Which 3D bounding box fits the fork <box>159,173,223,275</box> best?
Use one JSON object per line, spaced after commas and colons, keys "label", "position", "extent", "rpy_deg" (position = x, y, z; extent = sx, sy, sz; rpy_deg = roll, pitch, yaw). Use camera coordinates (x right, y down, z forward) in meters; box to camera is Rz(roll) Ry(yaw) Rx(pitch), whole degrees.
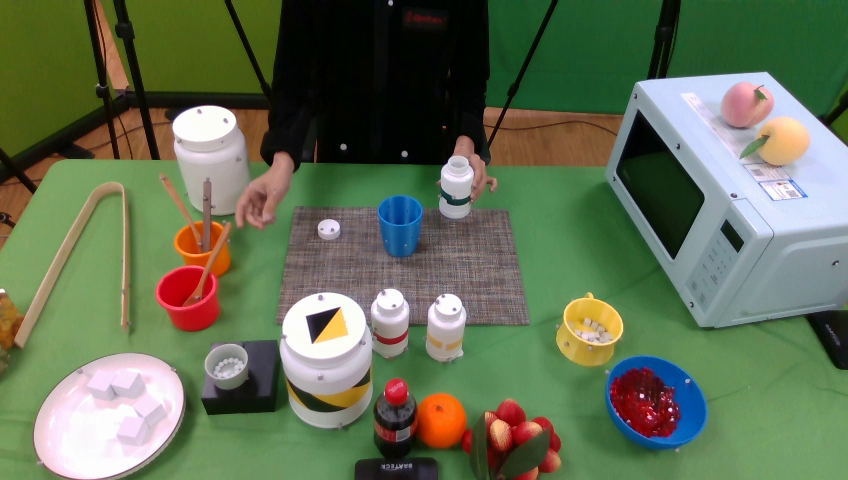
{"label": "fork", "position": [-0.427, -0.029, 1.104], "extent": [0.028, 0.018, 0.207], "rpy_deg": [-31, 99, -31]}

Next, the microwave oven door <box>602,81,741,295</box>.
{"label": "microwave oven door", "position": [0.456, -0.107, 1.162], "extent": [0.039, 0.245, 0.353], "rpy_deg": [-7, 47, -11]}

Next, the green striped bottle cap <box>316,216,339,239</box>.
{"label": "green striped bottle cap", "position": [-0.192, -0.025, 1.203], "extent": [0.044, 0.020, 0.044], "rpy_deg": [1, 61, -1]}

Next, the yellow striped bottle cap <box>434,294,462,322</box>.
{"label": "yellow striped bottle cap", "position": [0.038, 0.107, 0.958], "extent": [0.044, 0.019, 0.044], "rpy_deg": [2, 45, -2]}

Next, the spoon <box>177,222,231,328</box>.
{"label": "spoon", "position": [-0.369, 0.059, 1.027], "extent": [0.041, 0.022, 0.193], "rpy_deg": [25, 94, 19]}

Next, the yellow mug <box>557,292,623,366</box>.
{"label": "yellow mug", "position": [0.285, 0.145, 1.051], "extent": [0.100, 0.064, 0.130], "rpy_deg": [7, 45, 4]}

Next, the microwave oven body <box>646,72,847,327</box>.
{"label": "microwave oven body", "position": [0.607, -0.089, 1.164], "extent": [0.326, 0.261, 0.438], "rpy_deg": [-7, 46, -10]}

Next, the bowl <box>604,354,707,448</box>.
{"label": "bowl", "position": [0.346, 0.261, 0.937], "extent": [0.151, 0.077, 0.150], "rpy_deg": [2, 46, -2]}

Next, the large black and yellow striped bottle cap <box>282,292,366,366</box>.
{"label": "large black and yellow striped bottle cap", "position": [-0.138, 0.121, 0.841], "extent": [0.115, 0.019, 0.114], "rpy_deg": [3, 47, -3]}

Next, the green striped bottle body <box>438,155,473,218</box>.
{"label": "green striped bottle body", "position": [0.060, -0.104, 1.161], "extent": [0.063, 0.120, 0.063], "rpy_deg": [1, 47, -1]}

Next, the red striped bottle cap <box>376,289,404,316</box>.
{"label": "red striped bottle cap", "position": [-0.055, 0.098, 0.958], "extent": [0.044, 0.018, 0.044], "rpy_deg": [0, 48, 0]}

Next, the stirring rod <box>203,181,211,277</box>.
{"label": "stirring rod", "position": [-0.397, -0.021, 1.107], "extent": [0.014, 0.006, 0.176], "rpy_deg": [0, 89, -2]}

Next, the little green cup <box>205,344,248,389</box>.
{"label": "little green cup", "position": [-0.293, 0.191, 0.909], "extent": [0.061, 0.039, 0.061], "rpy_deg": [1, 47, -1]}

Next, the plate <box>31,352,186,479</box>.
{"label": "plate", "position": [-0.459, 0.262, 0.898], "extent": [0.209, 0.038, 0.208], "rpy_deg": [2, 46, -2]}

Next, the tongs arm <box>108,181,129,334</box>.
{"label": "tongs arm", "position": [-0.571, 0.019, 1.123], "extent": [0.051, 0.026, 0.382], "rpy_deg": [-11, 47, -11]}

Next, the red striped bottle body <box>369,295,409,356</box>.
{"label": "red striped bottle body", "position": [-0.059, 0.134, 0.997], "extent": [0.063, 0.120, 0.062], "rpy_deg": [5, 47, -5]}

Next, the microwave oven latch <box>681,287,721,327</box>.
{"label": "microwave oven latch", "position": [0.494, 0.119, 1.087], "extent": [0.030, 0.029, 0.078], "rpy_deg": [-6, 46, -9]}

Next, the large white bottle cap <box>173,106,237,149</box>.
{"label": "large white bottle cap", "position": [-0.411, -0.212, 1.138], "extent": [0.115, 0.018, 0.114], "rpy_deg": [2, 47, -2]}

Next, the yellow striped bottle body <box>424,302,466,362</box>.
{"label": "yellow striped bottle body", "position": [0.035, 0.143, 0.995], "extent": [0.063, 0.121, 0.062], "rpy_deg": [3, 46, -3]}

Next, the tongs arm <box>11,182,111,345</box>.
{"label": "tongs arm", "position": [-0.658, 0.027, 1.109], "extent": [0.028, 0.028, 0.385], "rpy_deg": [-2, 45, 2]}

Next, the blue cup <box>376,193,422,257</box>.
{"label": "blue cup", "position": [-0.047, -0.022, 1.155], "extent": [0.093, 0.101, 0.092], "rpy_deg": [1, 47, -1]}

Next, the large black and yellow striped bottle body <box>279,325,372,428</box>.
{"label": "large black and yellow striped bottle body", "position": [-0.143, 0.181, 0.900], "extent": [0.131, 0.185, 0.130], "rpy_deg": [2, 46, -2]}

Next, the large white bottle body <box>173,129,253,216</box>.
{"label": "large white bottle body", "position": [-0.416, -0.154, 1.199], "extent": [0.131, 0.185, 0.130], "rpy_deg": [2, 47, -2]}
